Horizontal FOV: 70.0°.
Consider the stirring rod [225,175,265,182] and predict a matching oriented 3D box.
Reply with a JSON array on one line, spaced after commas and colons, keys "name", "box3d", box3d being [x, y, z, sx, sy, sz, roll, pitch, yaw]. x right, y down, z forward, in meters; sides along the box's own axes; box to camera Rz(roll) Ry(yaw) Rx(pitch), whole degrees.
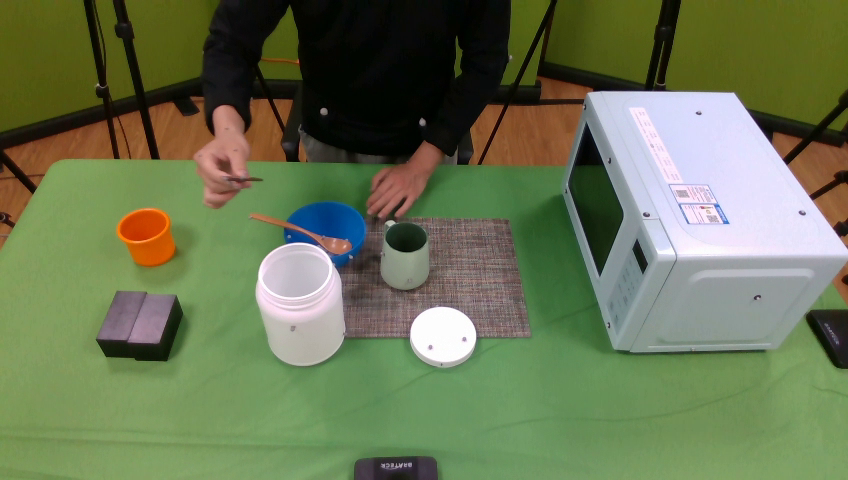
[{"name": "stirring rod", "box3d": [-0.258, -0.089, 0.884, 0.014, 0.006, 0.176, 8, 4, -2]}]

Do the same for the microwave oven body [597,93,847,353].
[{"name": "microwave oven body", "box3d": [0.475, -0.041, 1.109, 0.326, 0.261, 0.438, -1, 45, -4]}]

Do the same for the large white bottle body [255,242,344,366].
[{"name": "large white bottle body", "box3d": [-0.196, 0.102, 0.968, 0.131, 0.185, 0.130, 2, 49, -2]}]

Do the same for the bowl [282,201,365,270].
[{"name": "bowl", "box3d": [-0.185, 0.006, 1.136, 0.151, 0.077, 0.150, 2, 46, -2]}]

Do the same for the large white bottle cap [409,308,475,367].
[{"name": "large white bottle cap", "box3d": [0.031, 0.165, 1.041, 0.115, 0.018, 0.114, 2, 47, -2]}]

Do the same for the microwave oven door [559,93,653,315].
[{"name": "microwave oven door", "box3d": [0.327, -0.074, 1.123, 0.039, 0.245, 0.353, -1, 46, -5]}]

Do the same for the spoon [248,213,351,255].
[{"name": "spoon", "box3d": [-0.227, -0.014, 1.113, 0.194, 0.022, 0.041, 23, 41, -15]}]

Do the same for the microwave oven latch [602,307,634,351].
[{"name": "microwave oven latch", "box3d": [0.332, 0.153, 1.044, 0.030, 0.029, 0.078, -1, 45, -4]}]

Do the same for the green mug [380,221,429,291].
[{"name": "green mug", "box3d": [-0.043, 0.020, 1.116, 0.092, 0.105, 0.124, -20, 50, -21]}]
